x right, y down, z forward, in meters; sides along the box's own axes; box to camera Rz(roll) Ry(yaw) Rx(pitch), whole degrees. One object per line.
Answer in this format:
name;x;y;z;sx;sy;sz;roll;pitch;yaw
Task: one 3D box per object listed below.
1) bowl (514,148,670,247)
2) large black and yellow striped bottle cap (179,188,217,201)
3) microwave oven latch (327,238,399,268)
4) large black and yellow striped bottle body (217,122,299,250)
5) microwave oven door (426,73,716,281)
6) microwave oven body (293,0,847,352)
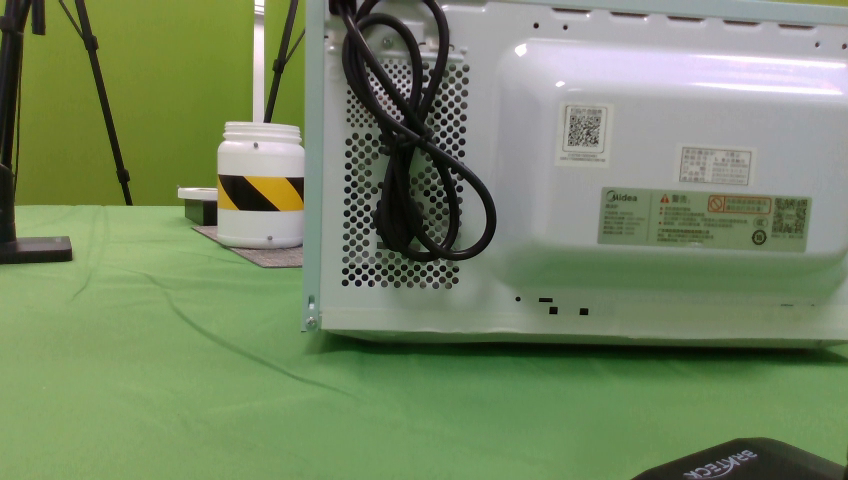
bowl;0.160;-0.036;0.598;0.151;0.076;0.151;7;-3;1
large black and yellow striped bottle cap;-0.434;-0.093;1.226;0.115;0.019;0.115;3;9;0
microwave oven latch;-0.069;0.015;0.694;0.079;0.029;0.030;3;7;-3
large black and yellow striped bottle body;-0.250;-0.084;0.931;0.131;0.184;0.130;2;7;0
microwave oven door;0.173;-0.088;0.784;0.354;0.243;0.039;6;8;25
microwave oven body;0.122;-0.055;0.550;0.442;0.260;0.325;3;7;-5
